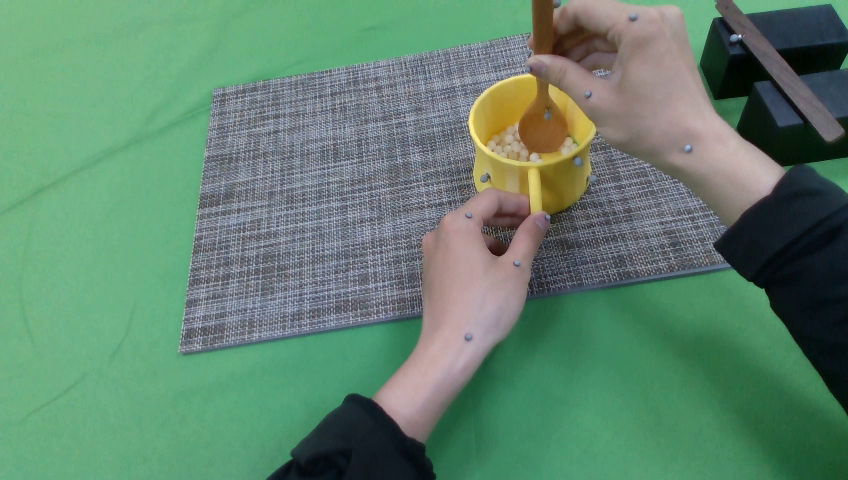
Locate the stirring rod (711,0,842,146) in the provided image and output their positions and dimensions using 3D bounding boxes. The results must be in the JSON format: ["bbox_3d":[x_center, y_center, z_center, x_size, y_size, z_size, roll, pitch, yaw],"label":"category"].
[{"bbox_3d":[0.276,-0.140,0.485,0.014,0.006,0.174,-36,50,27],"label":"stirring rod"}]

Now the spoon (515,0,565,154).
[{"bbox_3d":[0.083,-0.114,0.434,0.041,0.195,0.021,5,73,12],"label":"spoon"}]

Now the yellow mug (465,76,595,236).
[{"bbox_3d":[0.085,-0.063,0.485,0.100,0.064,0.129,-3,57,7],"label":"yellow mug"}]
